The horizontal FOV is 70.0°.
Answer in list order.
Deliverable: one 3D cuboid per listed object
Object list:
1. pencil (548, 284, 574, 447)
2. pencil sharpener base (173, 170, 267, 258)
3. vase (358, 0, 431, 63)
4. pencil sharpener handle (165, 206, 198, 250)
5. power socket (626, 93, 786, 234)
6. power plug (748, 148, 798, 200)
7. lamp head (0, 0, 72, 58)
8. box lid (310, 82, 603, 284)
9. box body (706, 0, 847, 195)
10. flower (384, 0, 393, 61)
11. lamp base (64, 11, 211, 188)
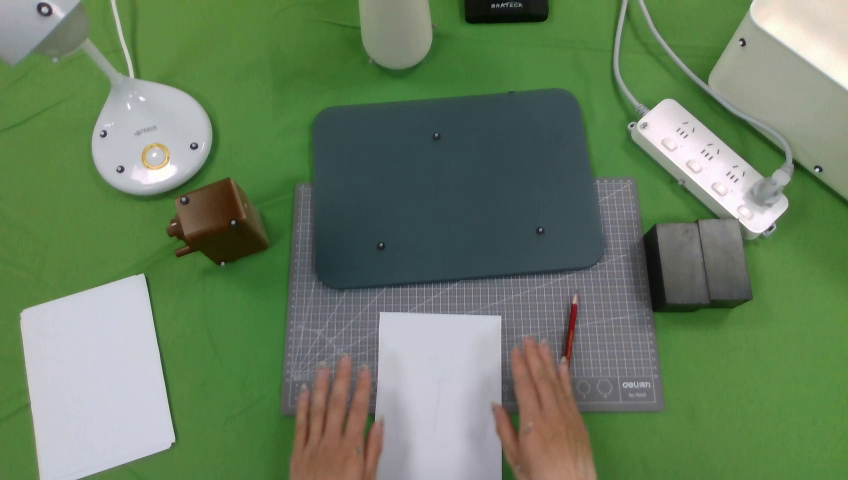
[{"bbox_3d":[0.165,0.146,0.720,0.012,0.012,0.193,10,75,5],"label":"pencil"},{"bbox_3d":[-0.246,-0.027,0.734,0.077,0.107,0.061,-21,73,-5],"label":"pencil sharpener base"},{"bbox_3d":[-0.040,-0.317,0.774,0.098,0.201,0.097,0,71,0],"label":"vase"},{"bbox_3d":[-0.293,-0.010,0.716,0.030,0.068,0.035,-21,60,-5],"label":"pencil sharpener handle"},{"bbox_3d":[0.365,-0.102,0.787,0.072,0.033,0.225,-40,76,-11],"label":"power socket"},{"bbox_3d":[0.437,-0.075,0.754,0.072,0.053,0.035,-28,71,-12],"label":"power plug"},{"bbox_3d":[-0.339,-0.224,0.470,0.112,0.124,0.111,-28,38,24],"label":"lamp head"},{"bbox_3d":[0.038,-0.081,0.796,0.372,0.015,0.261,-5,72,-1],"label":"box lid"},{"bbox_3d":[0.577,-0.205,0.748,0.254,0.161,0.362,-43,77,-12],"label":"box body"},{"bbox_3d":[-0.032,-0.356,0.700,0.044,0.364,0.038,-24,61,-23],"label":"flower"},{"bbox_3d":[-0.375,-0.178,0.744,0.160,0.181,0.178,-31,72,-9],"label":"lamp base"}]
